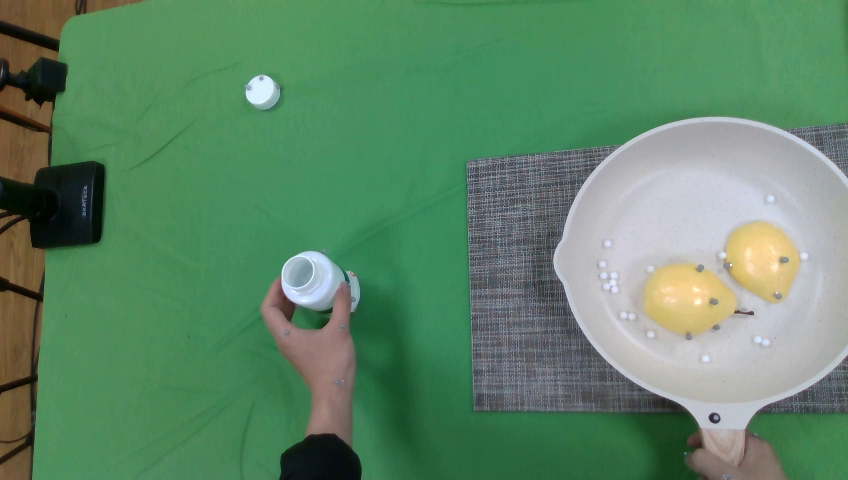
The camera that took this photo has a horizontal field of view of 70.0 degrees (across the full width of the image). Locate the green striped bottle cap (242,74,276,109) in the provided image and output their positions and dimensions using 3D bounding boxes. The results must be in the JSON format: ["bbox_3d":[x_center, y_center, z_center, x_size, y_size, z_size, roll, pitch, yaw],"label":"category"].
[{"bbox_3d":[-0.226,-0.204,0.828,0.044,0.020,0.044,-3,80,15],"label":"green striped bottle cap"}]

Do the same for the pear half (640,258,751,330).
[{"bbox_3d":[0.286,0.058,0.633,0.109,0.056,0.076,9,89,14],"label":"pear half"}]

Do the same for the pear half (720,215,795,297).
[{"bbox_3d":[0.352,0.015,0.634,0.070,0.031,0.087,-19,74,15],"label":"pear half"}]

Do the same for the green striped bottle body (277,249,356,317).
[{"bbox_3d":[-0.127,0.050,0.708,0.063,0.120,0.063,-3,73,12],"label":"green striped bottle body"}]

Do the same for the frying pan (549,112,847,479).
[{"bbox_3d":[0.282,0.116,0.600,0.306,0.103,0.485,-1,73,15],"label":"frying pan"}]
